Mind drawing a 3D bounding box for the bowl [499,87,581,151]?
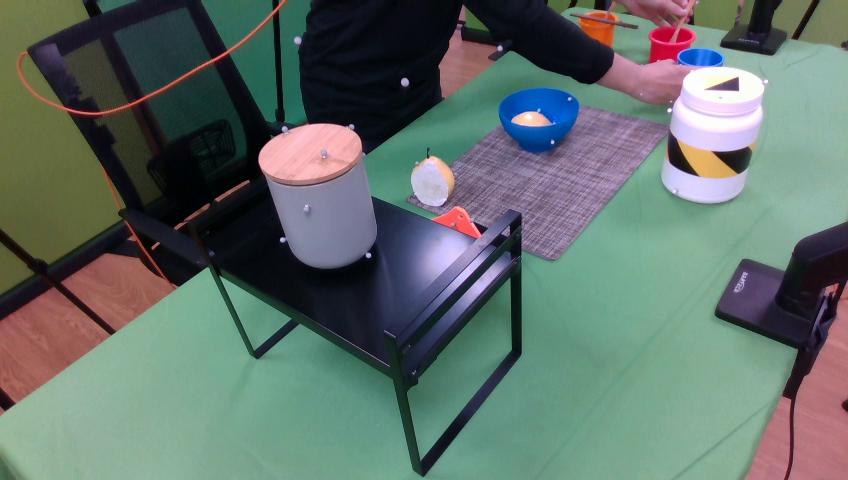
[{"bbox_3d":[0.220,-0.223,1.155,0.151,0.077,0.150,-4,40,4],"label":"bowl"}]

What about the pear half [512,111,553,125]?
[{"bbox_3d":[0.212,-0.228,1.152,0.088,0.031,0.070,7,46,10],"label":"pear half"}]

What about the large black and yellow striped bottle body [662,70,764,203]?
[{"bbox_3d":[0.464,-0.166,0.976,0.131,0.185,0.130,-5,41,5],"label":"large black and yellow striped bottle body"}]

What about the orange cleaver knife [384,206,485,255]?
[{"bbox_3d":[0.012,-0.010,0.942,0.012,0.077,0.210,-37,19,-35],"label":"orange cleaver knife"}]

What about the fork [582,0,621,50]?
[{"bbox_3d":[0.446,-0.539,1.438,0.207,0.019,0.028,-57,35,12],"label":"fork"}]

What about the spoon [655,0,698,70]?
[{"bbox_3d":[0.565,-0.464,1.334,0.041,0.193,0.022,31,10,40],"label":"spoon"}]

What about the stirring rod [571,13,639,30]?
[{"bbox_3d":[0.419,-0.508,1.404,0.174,0.006,0.014,29,55,35],"label":"stirring rod"}]

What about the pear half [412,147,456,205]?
[{"bbox_3d":[0.019,-0.120,1.042,0.076,0.110,0.056,11,44,16],"label":"pear half"}]

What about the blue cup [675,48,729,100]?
[{"bbox_3d":[0.535,-0.312,1.187,0.092,0.100,0.092,-3,40,3],"label":"blue cup"}]

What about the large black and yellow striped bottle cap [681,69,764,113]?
[{"bbox_3d":[0.453,-0.229,0.921,0.115,0.019,0.114,-4,39,4],"label":"large black and yellow striped bottle cap"}]

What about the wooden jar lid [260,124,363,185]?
[{"bbox_3d":[-0.119,-0.088,0.645,0.108,0.021,0.108,-4,40,4],"label":"wooden jar lid"}]

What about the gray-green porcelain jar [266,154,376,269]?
[{"bbox_3d":[-0.112,-0.039,0.685,0.106,0.127,0.105,-4,40,4],"label":"gray-green porcelain jar"}]
